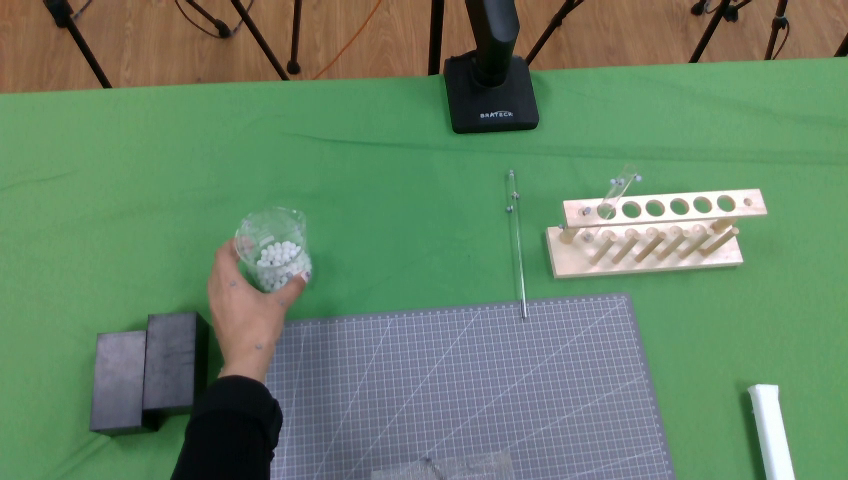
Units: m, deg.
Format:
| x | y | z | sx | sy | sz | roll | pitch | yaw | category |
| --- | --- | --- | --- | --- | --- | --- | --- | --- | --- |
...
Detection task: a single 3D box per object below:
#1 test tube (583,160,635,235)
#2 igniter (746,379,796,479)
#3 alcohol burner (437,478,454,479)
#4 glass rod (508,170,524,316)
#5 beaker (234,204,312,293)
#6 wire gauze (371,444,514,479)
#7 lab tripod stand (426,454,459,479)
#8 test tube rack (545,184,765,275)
| x | y | z | sx | sy | sz | roll | pitch | yaw | category |
| --- | --- | --- | --- | --- | --- | --- | --- | --- | --- |
| 0.209 | -0.044 | 0.695 | 0.017 | 0.151 | 0.017 | 1 | 63 | -2 | test tube |
| 0.390 | 0.289 | 0.653 | 0.057 | 0.025 | 0.274 | 7 | 67 | -13 | igniter |
| 0.025 | 0.269 | 0.582 | 0.078 | 0.120 | 0.077 | 2 | 65 | -5 | alcohol burner |
| 0.116 | 0.000 | 0.763 | 0.008 | 0.008 | 0.198 | 1 | 68 | -4 | glass rod |
| -0.165 | 0.012 | 0.687 | 0.073 | 0.101 | 0.084 | 41 | 69 | 12 | beaker |
| 0.025 | 0.242 | 0.509 | 0.125 | 0.011 | 0.120 | -7 | 66 | -8 | wire gauze |
| 0.021 | 0.272 | 0.570 | 0.148 | 0.132 | 0.147 | 1 | 66 | -2 | lab tripod stand |
| 0.281 | -0.012 | 0.740 | 0.243 | 0.086 | 0.066 | -4 | 67 | -6 | test tube rack |
